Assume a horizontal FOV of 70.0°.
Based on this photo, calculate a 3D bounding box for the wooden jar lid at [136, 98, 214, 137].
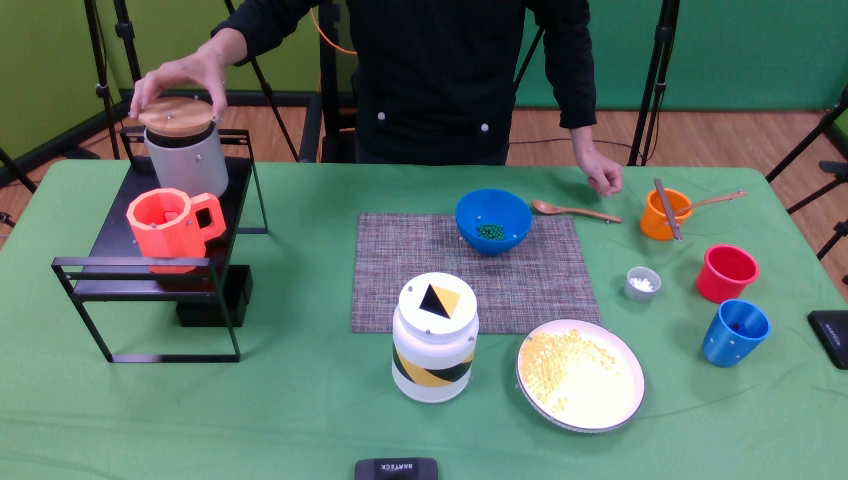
[{"bbox_3d":[-0.373,-0.184,0.912,0.108,0.021,0.108,8,34,-5],"label":"wooden jar lid"}]

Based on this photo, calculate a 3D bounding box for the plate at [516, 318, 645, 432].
[{"bbox_3d":[0.253,0.221,0.992,0.209,0.038,0.208,2,46,-2],"label":"plate"}]

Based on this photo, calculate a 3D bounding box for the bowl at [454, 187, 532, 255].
[{"bbox_3d":[0.131,-0.025,1.187,0.151,0.077,0.150,3,46,-2],"label":"bowl"}]

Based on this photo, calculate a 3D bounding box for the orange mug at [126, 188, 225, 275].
[{"bbox_3d":[-0.357,-0.020,0.885,0.126,0.101,0.083,-29,54,-23],"label":"orange mug"}]

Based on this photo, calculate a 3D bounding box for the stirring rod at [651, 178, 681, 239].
[{"bbox_3d":[0.479,-0.065,1.204,0.014,0.006,0.175,3,46,-4],"label":"stirring rod"}]

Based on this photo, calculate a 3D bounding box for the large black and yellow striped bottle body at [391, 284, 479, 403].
[{"bbox_3d":[0.015,0.153,0.938,0.131,0.185,0.130,2,46,-2],"label":"large black and yellow striped bottle body"}]

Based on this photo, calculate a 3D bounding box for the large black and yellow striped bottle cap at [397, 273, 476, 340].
[{"bbox_3d":[0.018,0.094,0.878,0.115,0.019,0.114,3,46,-3],"label":"large black and yellow striped bottle cap"}]

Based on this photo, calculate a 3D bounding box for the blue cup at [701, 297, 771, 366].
[{"bbox_3d":[0.519,0.162,1.025,0.093,0.101,0.092,3,45,-3],"label":"blue cup"}]

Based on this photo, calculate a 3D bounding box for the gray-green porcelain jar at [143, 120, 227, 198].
[{"bbox_3d":[-0.375,-0.126,0.967,0.106,0.127,0.105,2,46,-2],"label":"gray-green porcelain jar"}]

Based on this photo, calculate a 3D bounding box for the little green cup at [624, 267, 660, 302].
[{"bbox_3d":[0.406,0.084,1.135,0.061,0.039,0.061,3,45,-3],"label":"little green cup"}]

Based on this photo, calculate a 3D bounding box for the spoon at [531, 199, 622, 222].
[{"bbox_3d":[0.321,-0.060,1.279,0.194,0.022,0.041,8,32,5],"label":"spoon"}]

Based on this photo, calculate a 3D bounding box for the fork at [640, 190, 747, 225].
[{"bbox_3d":[0.533,-0.064,1.211,0.207,0.019,0.028,-22,28,39],"label":"fork"}]
